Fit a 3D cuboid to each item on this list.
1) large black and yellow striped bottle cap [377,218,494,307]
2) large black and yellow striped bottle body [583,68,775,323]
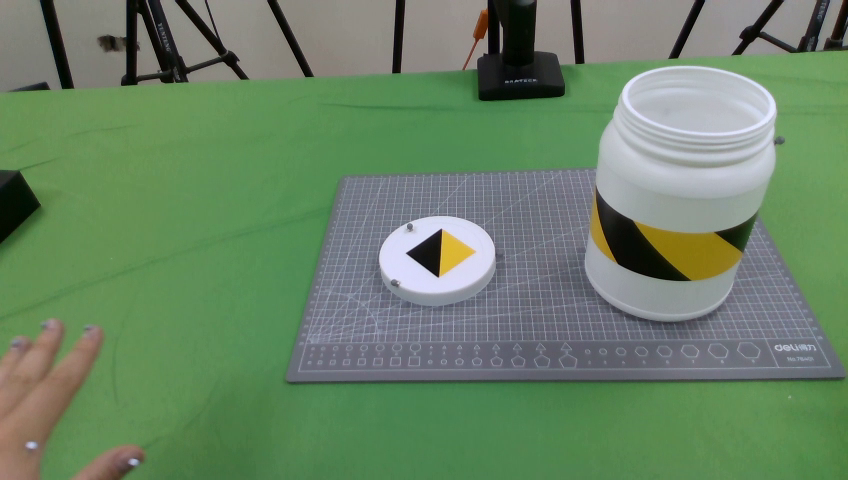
[{"bbox_3d":[0.011,0.019,0.596,0.115,0.019,0.114,-2,42,2],"label":"large black and yellow striped bottle cap"},{"bbox_3d":[0.208,-0.036,0.508,0.131,0.186,0.129,-3,41,3],"label":"large black and yellow striped bottle body"}]
